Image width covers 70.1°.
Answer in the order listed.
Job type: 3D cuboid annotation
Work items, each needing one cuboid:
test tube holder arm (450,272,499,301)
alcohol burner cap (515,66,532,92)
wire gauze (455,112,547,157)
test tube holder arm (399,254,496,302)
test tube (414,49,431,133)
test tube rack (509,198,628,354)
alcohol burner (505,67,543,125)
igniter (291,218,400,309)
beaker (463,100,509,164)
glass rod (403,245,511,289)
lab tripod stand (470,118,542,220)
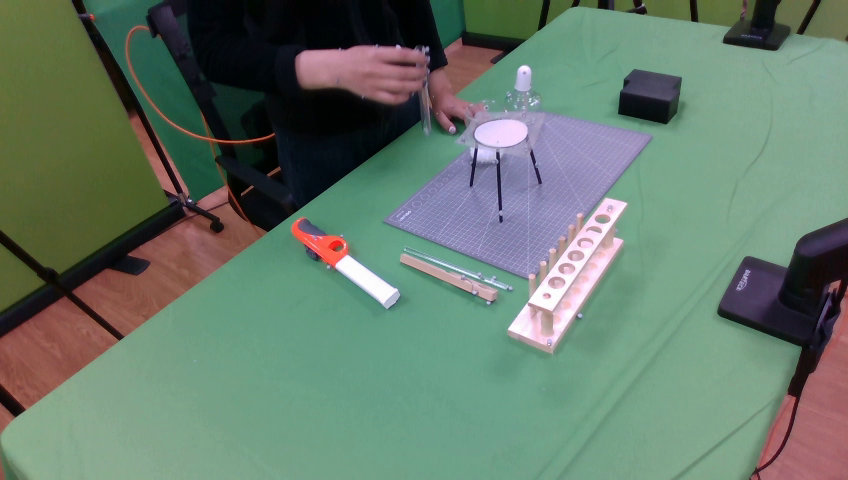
[{"bbox_3d":[0.071,0.068,0.895,0.087,0.015,0.010,21,16,32],"label":"test tube holder arm"},{"bbox_3d":[0.198,-0.320,1.192,0.034,0.048,0.033,0,47,1],"label":"alcohol burner cap"},{"bbox_3d":[0.125,-0.176,0.973,0.124,0.011,0.121,10,42,22],"label":"wire gauze"},{"bbox_3d":[0.032,0.054,0.914,0.177,0.015,0.013,21,16,32],"label":"test tube holder arm"},{"bbox_3d":[-0.001,-0.233,0.963,0.017,0.151,0.017,-3,47,4],"label":"test tube"},{"bbox_3d":[0.206,0.039,0.850,0.066,0.085,0.243,20,48,31],"label":"test tube rack"},{"bbox_3d":[0.201,-0.293,1.216,0.078,0.119,0.077,-4,41,4],"label":"alcohol burner"},{"bbox_3d":[-0.136,0.031,0.970,0.057,0.025,0.274,-41,49,-19],"label":"igniter"},{"bbox_3d":[0.120,-0.200,1.133,0.083,0.101,0.074,5,42,16],"label":"beaker"},{"bbox_3d":[0.047,0.040,0.938,0.198,0.008,0.008,21,49,30],"label":"glass rod"},{"bbox_3d":[0.135,-0.128,1.019,0.148,0.132,0.147,-5,38,5],"label":"lab tripod stand"}]
